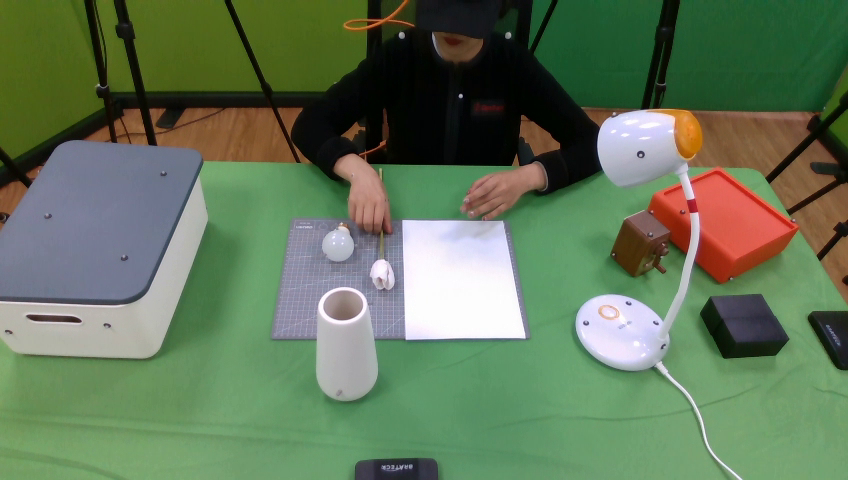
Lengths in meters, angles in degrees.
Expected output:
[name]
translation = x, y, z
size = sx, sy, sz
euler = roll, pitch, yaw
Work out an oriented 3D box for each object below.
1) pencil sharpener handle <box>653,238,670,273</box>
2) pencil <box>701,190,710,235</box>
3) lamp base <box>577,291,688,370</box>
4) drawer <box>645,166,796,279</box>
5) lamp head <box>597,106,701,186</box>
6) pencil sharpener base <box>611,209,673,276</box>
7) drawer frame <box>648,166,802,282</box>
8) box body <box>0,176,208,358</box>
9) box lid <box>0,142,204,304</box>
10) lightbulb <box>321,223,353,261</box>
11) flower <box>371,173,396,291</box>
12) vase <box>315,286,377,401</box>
[pencil sharpener handle]
translation = 0.444, 0.030, 1.120
size = 0.036, 0.068, 0.030
euler = -25, 52, -18
[pencil]
translation = 0.584, -0.058, 1.256
size = 0.012, 0.012, 0.193
euler = 16, 35, 12
[lamp base]
translation = 0.361, 0.110, 1.003
size = 0.160, 0.181, 0.178
euler = -31, 57, -28
[drawer]
translation = 0.600, -0.041, 1.236
size = 0.195, 0.073, 0.210
euler = -21, 52, -23
[lamp head]
translation = 0.329, -0.138, 0.865
size = 0.112, 0.113, 0.122
euler = -36, 20, -32
[pencil sharpener base]
translation = 0.416, 0.007, 1.158
size = 0.061, 0.107, 0.076
euler = -21, 51, -22
[drawer frame]
translation = 0.603, -0.040, 1.233
size = 0.202, 0.083, 0.212
euler = -21, 51, -23
[box body]
translation = -0.546, 0.017, 1.045
size = 0.254, 0.161, 0.361
euler = 2, 46, -2
[box lid]
translation = -0.534, -0.044, 0.995
size = 0.263, 0.015, 0.369
euler = 3, 45, -3
[lightbulb]
translation = -0.163, -0.001, 1.164
size = 0.059, 0.060, 0.107
euler = 4, 30, 0
[flower]
translation = -0.090, -0.033, 1.228
size = 0.044, 0.038, 0.359
euler = 23, 34, -25
[vase]
translation = -0.119, 0.159, 0.911
size = 0.098, 0.201, 0.097
euler = 2, 47, -2
